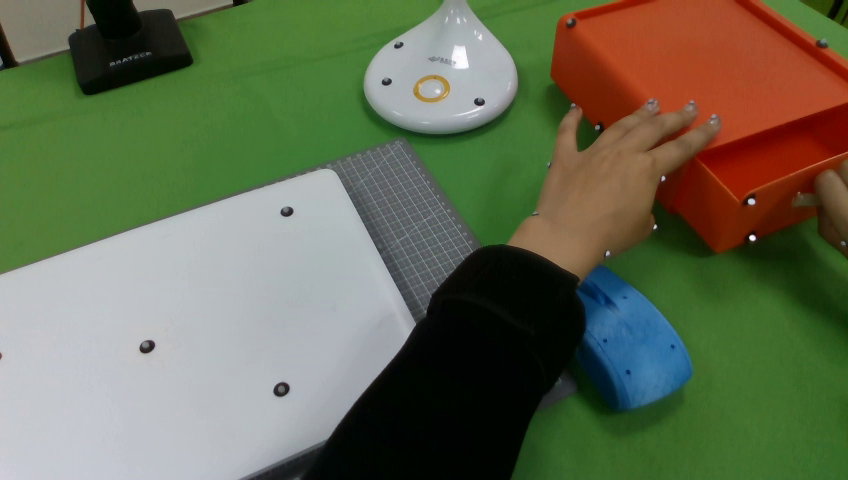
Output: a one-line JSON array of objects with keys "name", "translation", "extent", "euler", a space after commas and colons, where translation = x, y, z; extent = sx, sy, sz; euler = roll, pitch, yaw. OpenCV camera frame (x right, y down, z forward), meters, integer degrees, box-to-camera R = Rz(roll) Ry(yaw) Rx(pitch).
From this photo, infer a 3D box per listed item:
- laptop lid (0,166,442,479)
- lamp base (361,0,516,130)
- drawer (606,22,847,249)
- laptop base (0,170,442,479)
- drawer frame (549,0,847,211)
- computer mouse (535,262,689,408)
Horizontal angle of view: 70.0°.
[{"name": "laptop lid", "translation": [-0.192, 0.076, 0.428], "extent": [0.357, 0.013, 0.239], "euler": [-20, 55, -13]}, {"name": "lamp base", "translation": [0.013, -0.227, 0.576], "extent": [0.160, 0.182, 0.177], "euler": [5, 49, 7]}, {"name": "drawer", "translation": [0.278, -0.111, 0.536], "extent": [0.195, 0.074, 0.209], "euler": [-19, 52, -12]}, {"name": "laptop base", "translation": [-0.192, 0.082, 0.439], "extent": [0.355, 0.023, 0.233], "euler": [-21, 57, -14]}, {"name": "drawer frame", "translation": [0.257, -0.147, 0.565], "extent": [0.202, 0.083, 0.211], "euler": [-19, 52, -12]}, {"name": "computer mouse", "translation": [0.132, 0.061, 0.433], "extent": [0.063, 0.041, 0.116], "euler": [-21, 49, -12]}]
